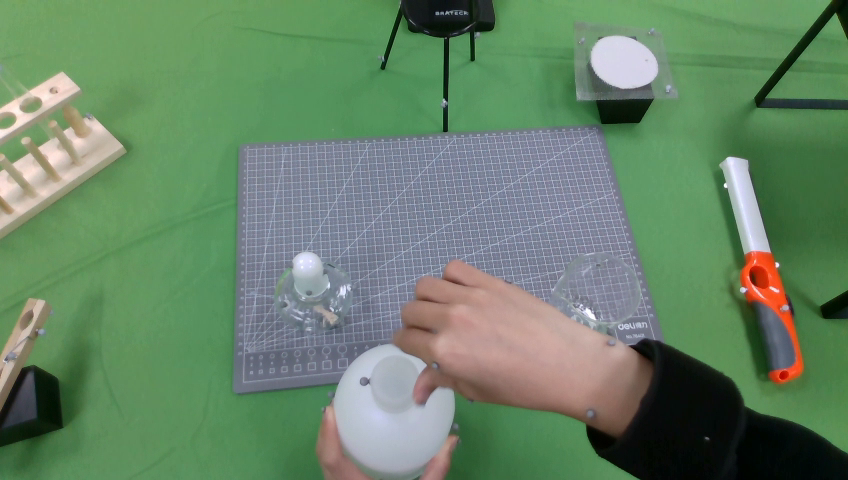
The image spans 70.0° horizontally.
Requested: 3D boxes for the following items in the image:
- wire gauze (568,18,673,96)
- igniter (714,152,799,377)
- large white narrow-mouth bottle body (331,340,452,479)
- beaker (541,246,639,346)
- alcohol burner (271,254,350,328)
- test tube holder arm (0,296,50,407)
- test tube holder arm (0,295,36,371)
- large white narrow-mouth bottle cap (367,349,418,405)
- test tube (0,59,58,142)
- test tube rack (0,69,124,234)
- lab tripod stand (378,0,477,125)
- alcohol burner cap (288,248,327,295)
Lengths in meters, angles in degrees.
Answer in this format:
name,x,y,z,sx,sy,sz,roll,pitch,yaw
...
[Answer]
name,x,y,z,sx,sy,sz,roll,pitch,yaw
wire gauze,0.242,-0.228,0.757,0.121,0.011,0.124,3,64,-3
igniter,0.377,0.020,0.691,0.057,0.025,0.274,6,63,-13
large white narrow-mouth bottle body,-0.028,0.140,0.510,0.102,0.196,0.101,2,63,-3
beaker,0.160,0.062,0.611,0.084,0.101,0.073,-3,64,-4
alcohol burner,-0.112,0.043,0.592,0.078,0.120,0.077,3,62,-5
test tube holder arm,-0.375,0.133,0.533,0.013,0.015,0.177,8,65,6
test tube holder arm,-0.374,0.093,0.552,0.010,0.015,0.087,6,65,5
large white narrow-mouth bottle cap,-0.023,0.097,0.429,0.038,0.024,0.037,2,64,-3
test tube,-0.417,-0.150,0.626,0.017,0.151,0.017,0,62,0
test tube rack,-0.455,-0.069,0.639,0.066,0.086,0.242,41,68,15
lab tripod stand,0.013,-0.235,0.728,0.148,0.132,0.147,2,65,-5
alcohol burner cap,-0.110,0.027,0.560,0.034,0.048,0.033,1,59,-1
